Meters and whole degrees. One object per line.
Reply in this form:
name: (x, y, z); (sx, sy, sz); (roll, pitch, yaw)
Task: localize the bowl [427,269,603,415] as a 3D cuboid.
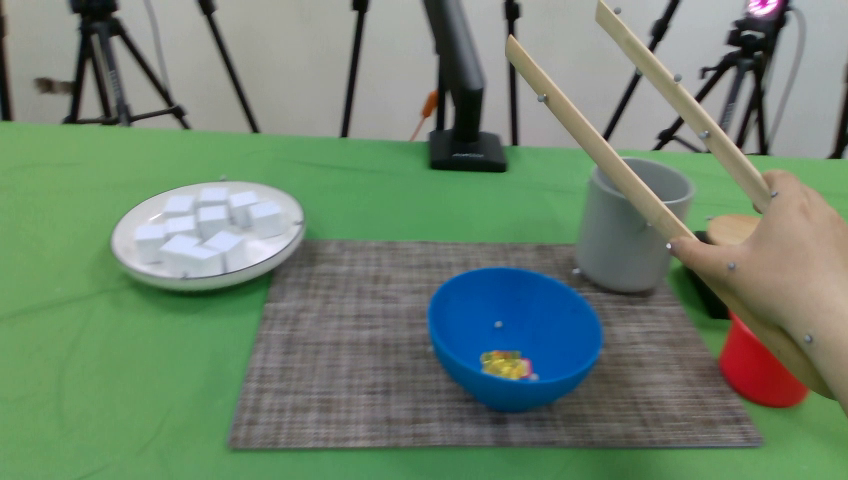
bowl: (0.075, 0.101, 0.538); (0.151, 0.077, 0.150); (3, 34, -2)

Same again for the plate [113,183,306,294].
plate: (-0.241, -0.002, 0.698); (0.209, 0.038, 0.207); (2, 34, -1)

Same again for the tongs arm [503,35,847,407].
tongs arm: (0.174, -0.035, 0.463); (0.028, 0.028, 0.384); (-26, 63, -19)

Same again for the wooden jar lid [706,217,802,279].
wooden jar lid: (0.369, 0.009, 0.674); (0.108, 0.021, 0.107); (2, 34, -1)

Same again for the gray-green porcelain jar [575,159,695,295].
gray-green porcelain jar: (0.229, -0.011, 0.676); (0.106, 0.127, 0.105); (3, 34, -1)

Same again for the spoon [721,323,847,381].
spoon: (0.364, 0.086, 0.538); (0.193, 0.022, 0.041); (-31, 20, 31)

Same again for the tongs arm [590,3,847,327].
tongs arm: (0.222, -0.056, 0.474); (0.051, 0.027, 0.381); (-23, 63, -14)
